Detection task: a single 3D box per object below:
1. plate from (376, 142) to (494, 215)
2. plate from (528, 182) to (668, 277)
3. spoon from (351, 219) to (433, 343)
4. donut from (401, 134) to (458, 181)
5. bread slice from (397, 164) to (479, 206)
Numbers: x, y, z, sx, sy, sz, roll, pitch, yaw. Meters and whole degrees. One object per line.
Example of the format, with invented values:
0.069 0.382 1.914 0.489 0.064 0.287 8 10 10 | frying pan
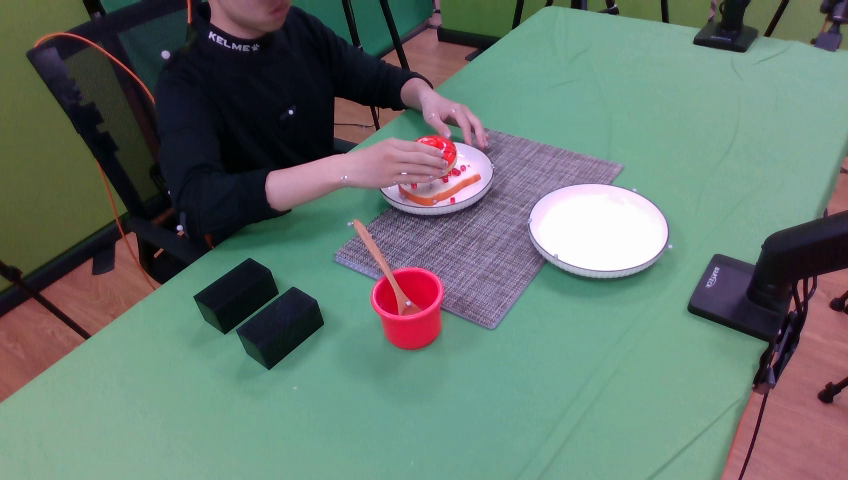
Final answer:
0.021 -0.106 1.073 0.209 0.038 0.208 -4 40 4 | plate
0.264 -0.014 0.933 0.207 0.039 0.206 -3 42 3 | plate
-0.045 0.054 0.820 0.042 0.021 0.193 -29 89 -21 | spoon
0.009 -0.141 1.016 0.099 0.048 0.098 -6 45 7 | donut
0.020 -0.104 1.080 0.132 0.019 0.104 -29 45 -32 | bread slice
